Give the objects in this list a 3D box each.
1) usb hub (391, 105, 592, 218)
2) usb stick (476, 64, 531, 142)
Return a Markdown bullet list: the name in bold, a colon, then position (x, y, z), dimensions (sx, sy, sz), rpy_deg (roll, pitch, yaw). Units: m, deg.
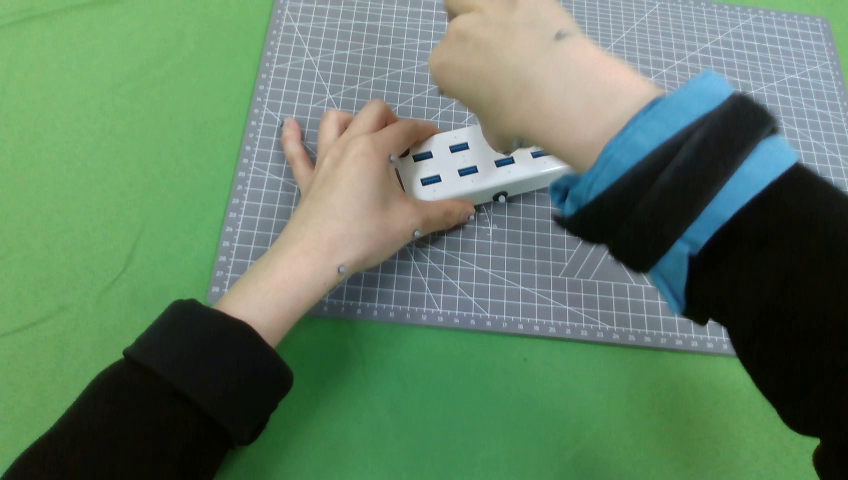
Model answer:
- **usb hub**: position (0.044, -0.054, 0.401), dimensions (0.125, 0.025, 0.049), rpy_deg (-13, 70, -10)
- **usb stick**: position (0.048, -0.080, 0.378), dimensions (0.021, 0.059, 0.027), rpy_deg (-14, 68, -10)
